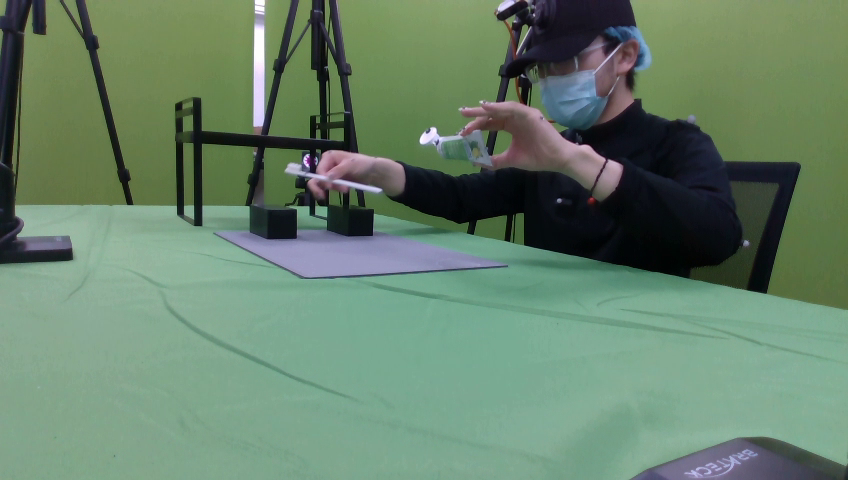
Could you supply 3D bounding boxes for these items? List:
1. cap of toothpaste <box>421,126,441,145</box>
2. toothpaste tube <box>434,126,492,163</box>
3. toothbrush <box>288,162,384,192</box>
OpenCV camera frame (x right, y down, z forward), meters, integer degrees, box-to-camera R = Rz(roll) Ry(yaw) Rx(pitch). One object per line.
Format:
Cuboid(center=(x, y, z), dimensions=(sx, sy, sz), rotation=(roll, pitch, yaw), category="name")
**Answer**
Cuboid(center=(0.011, -0.167, 0.972), dimensions=(0.037, 0.037, 0.011), rotation=(12, -23, 50), category="cap of toothpaste")
Cuboid(center=(0.056, -0.142, 0.898), dimensions=(0.034, 0.055, 0.164), rotation=(-32, 18, -13), category="toothpaste tube")
Cuboid(center=(-0.149, -0.108, 1.056), dimensions=(0.183, 0.016, 0.014), rotation=(12, 17, -32), category="toothbrush")
